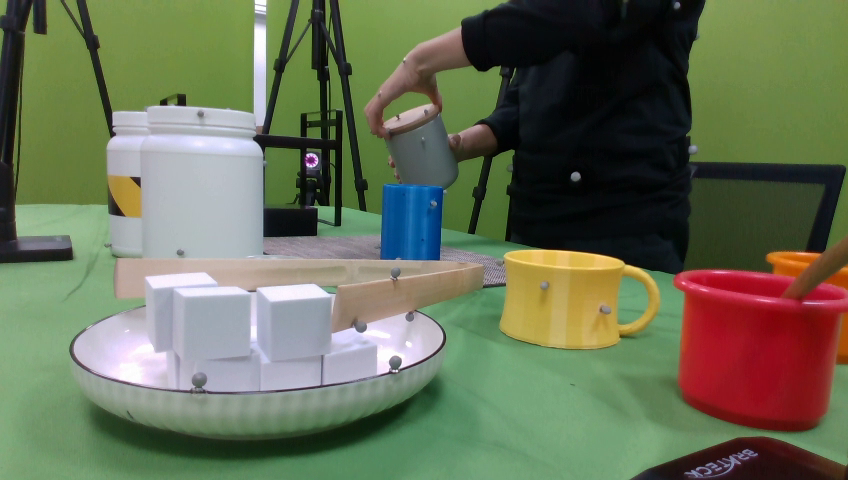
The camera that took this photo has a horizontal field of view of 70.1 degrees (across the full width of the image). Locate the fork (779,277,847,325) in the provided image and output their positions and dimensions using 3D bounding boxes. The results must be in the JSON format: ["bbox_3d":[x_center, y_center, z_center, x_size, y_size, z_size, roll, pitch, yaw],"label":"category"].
[{"bbox_3d":[0.335,0.018,0.443,0.028,0.018,0.207,-1,-36,-20],"label":"fork"}]

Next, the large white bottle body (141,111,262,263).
[{"bbox_3d":[-0.254,-0.053,0.697,0.131,0.184,0.130,2,7,0],"label":"large white bottle body"}]

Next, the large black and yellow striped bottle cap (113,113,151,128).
[{"bbox_3d":[-0.348,-0.154,0.800,0.115,0.019,0.115,2,6,0],"label":"large black and yellow striped bottle cap"}]

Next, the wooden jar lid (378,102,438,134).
[{"bbox_3d":[-0.025,-0.203,1.024,0.108,0.021,0.108,-19,23,9],"label":"wooden jar lid"}]

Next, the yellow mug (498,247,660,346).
[{"bbox_3d":[0.130,0.045,0.508,0.131,0.064,0.100,4,7,6],"label":"yellow mug"}]

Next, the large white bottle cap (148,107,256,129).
[{"bbox_3d":[-0.250,-0.137,0.686,0.115,0.018,0.115,2,8,0],"label":"large white bottle cap"}]

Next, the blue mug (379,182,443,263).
[{"bbox_3d":[-0.020,-0.026,0.833,0.082,0.106,0.116,1,7,-7],"label":"blue mug"}]

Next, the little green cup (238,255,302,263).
[{"bbox_3d":[-0.150,0.038,0.590,0.061,0.038,0.061,3,6,0],"label":"little green cup"}]

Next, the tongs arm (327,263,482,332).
[{"bbox_3d":[-0.003,0.036,0.493,0.050,0.026,0.386,1,0,19],"label":"tongs arm"}]

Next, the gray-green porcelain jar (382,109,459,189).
[{"bbox_3d":[-0.002,-0.150,1.053,0.106,0.127,0.105,-17,26,9],"label":"gray-green porcelain jar"}]

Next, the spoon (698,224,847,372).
[{"bbox_3d":[0.195,0.032,0.323,0.041,0.021,0.194,1,-36,2],"label":"spoon"}]

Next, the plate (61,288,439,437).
[{"bbox_3d":[-0.095,0.069,0.362,0.208,0.039,0.207,3,7,0],"label":"plate"}]

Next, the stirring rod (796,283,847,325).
[{"bbox_3d":[0.346,0.019,0.460,0.014,0.176,0.006,-16,59,-26],"label":"stirring rod"}]

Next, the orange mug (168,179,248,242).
[{"bbox_3d":[-0.351,-0.050,0.986,0.126,0.101,0.083,-3,8,-9],"label":"orange mug"}]

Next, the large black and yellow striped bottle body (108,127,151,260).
[{"bbox_3d":[-0.350,-0.071,0.812,0.131,0.184,0.130,2,7,0],"label":"large black and yellow striped bottle body"}]

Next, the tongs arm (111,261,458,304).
[{"bbox_3d":[-0.080,0.032,0.527,0.028,0.027,0.389,-3,-3,33],"label":"tongs arm"}]
